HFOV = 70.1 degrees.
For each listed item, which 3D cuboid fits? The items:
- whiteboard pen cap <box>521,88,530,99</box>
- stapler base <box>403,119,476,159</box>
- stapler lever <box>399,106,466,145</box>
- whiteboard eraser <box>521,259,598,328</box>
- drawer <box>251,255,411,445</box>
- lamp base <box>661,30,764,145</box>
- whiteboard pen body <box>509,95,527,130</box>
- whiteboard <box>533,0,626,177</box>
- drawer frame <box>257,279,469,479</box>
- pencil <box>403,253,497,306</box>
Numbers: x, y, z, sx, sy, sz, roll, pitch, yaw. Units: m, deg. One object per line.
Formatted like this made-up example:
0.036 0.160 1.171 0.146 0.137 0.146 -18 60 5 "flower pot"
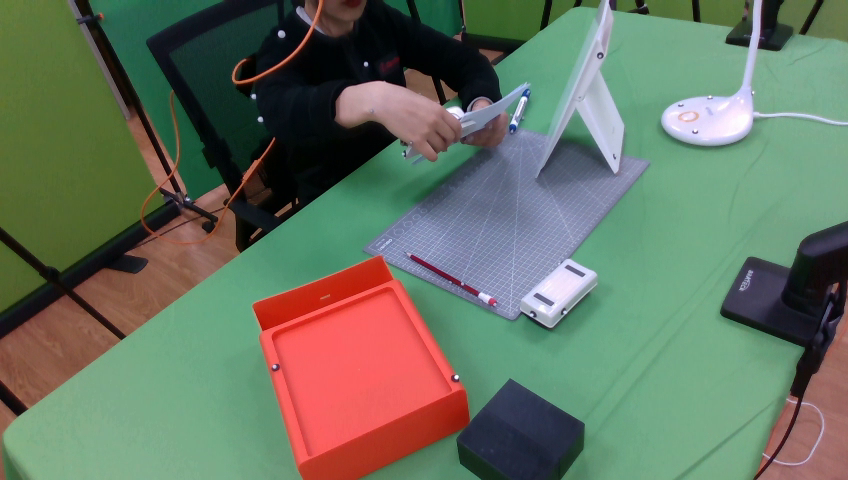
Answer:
0.219 -0.312 1.301 0.018 0.018 0.033 6 47 17 "whiteboard pen cap"
0.021 -0.163 0.932 0.131 0.041 0.024 -26 76 -28 "stapler base"
0.012 -0.177 0.934 0.119 0.027 0.040 -17 73 -25 "stapler lever"
0.189 0.075 0.843 0.055 0.042 0.113 29 53 37 "whiteboard eraser"
-0.105 0.135 0.798 0.195 0.073 0.210 -20 42 -14 "drawer"
0.535 -0.287 1.096 0.179 0.181 0.159 -10 40 -4 "lamp base"
0.199 -0.273 1.261 0.017 0.017 0.140 8 45 19 "whiteboard pen body"
0.321 -0.258 1.050 0.144 0.306 0.217 21 45 5 "whiteboard"
-0.080 0.169 0.751 0.202 0.083 0.211 -21 42 -15 "drawer frame"
0.034 0.056 0.914 0.192 0.012 0.012 27 52 38 "pencil"
